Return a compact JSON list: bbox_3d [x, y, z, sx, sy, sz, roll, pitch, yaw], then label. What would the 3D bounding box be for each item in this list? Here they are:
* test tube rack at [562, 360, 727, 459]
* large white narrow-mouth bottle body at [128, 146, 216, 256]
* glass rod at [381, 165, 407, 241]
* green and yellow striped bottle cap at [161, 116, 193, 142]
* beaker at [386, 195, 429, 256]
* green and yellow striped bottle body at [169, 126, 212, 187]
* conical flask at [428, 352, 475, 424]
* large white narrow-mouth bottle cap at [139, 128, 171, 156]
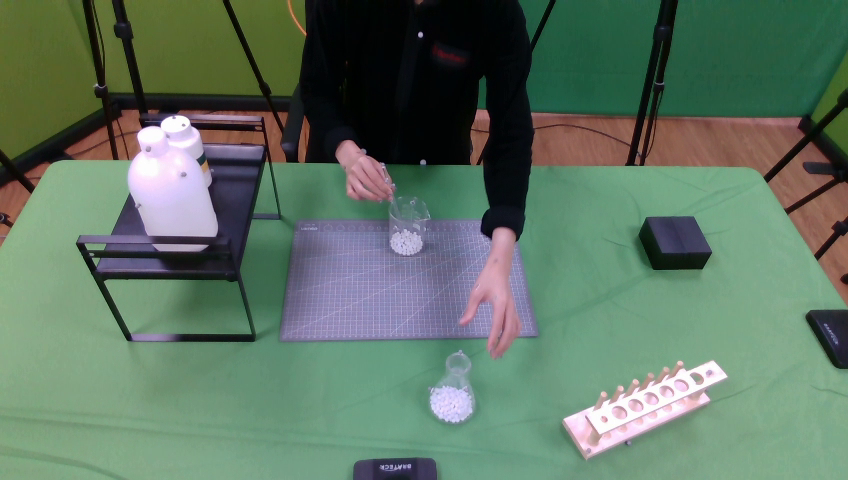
[{"bbox_3d":[0.341,0.247,0.940,0.243,0.085,0.066,-16,49,-18],"label":"test tube rack"},{"bbox_3d":[-0.366,-0.072,0.872,0.102,0.195,0.101,3,47,-3],"label":"large white narrow-mouth bottle body"},{"bbox_3d":[-0.054,-0.064,1.116,0.008,0.201,0.008,-7,49,8],"label":"glass rod"},{"bbox_3d":[-0.387,-0.174,0.946,0.045,0.020,0.045,3,44,-3],"label":"green and yellow striped bottle cap"},{"bbox_3d":[-0.031,-0.024,1.161,0.084,0.101,0.073,18,48,12],"label":"beaker"},{"bbox_3d":[-0.389,-0.139,0.984,0.063,0.120,0.063,2,46,-2],"label":"green and yellow striped bottle body"},{"bbox_3d":[0.046,0.220,0.920,0.075,0.122,0.075,2,46,-2],"label":"conical flask"},{"bbox_3d":[-0.358,-0.131,0.808,0.038,0.024,0.037,3,47,-3],"label":"large white narrow-mouth bottle cap"}]
